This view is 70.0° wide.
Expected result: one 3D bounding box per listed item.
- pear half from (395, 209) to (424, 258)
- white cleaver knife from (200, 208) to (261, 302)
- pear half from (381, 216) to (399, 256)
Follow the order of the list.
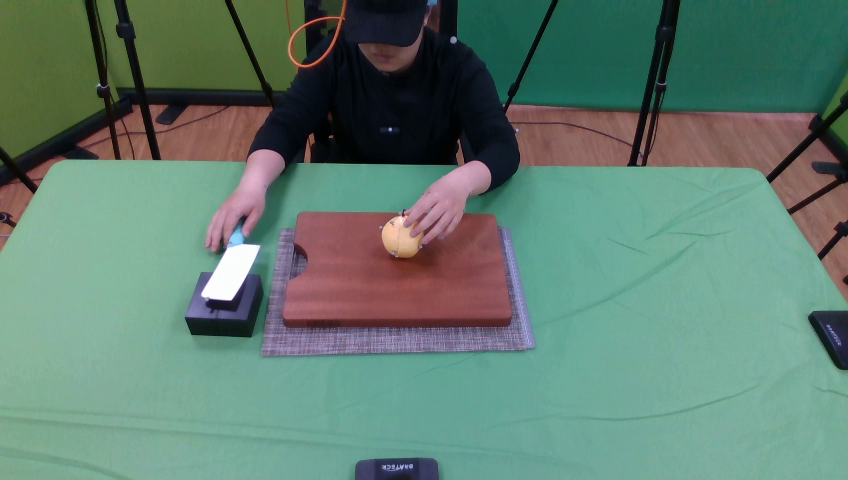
[{"bbox_3d":[-0.027,-0.018,1.113,0.056,0.110,0.076,-5,51,-10],"label":"pear half"},{"bbox_3d":[-0.338,0.024,1.116,0.066,0.021,0.285,7,35,-3],"label":"white cleaver knife"},{"bbox_3d":[-0.062,-0.009,1.116,0.031,0.088,0.070,-6,55,-9],"label":"pear half"}]
